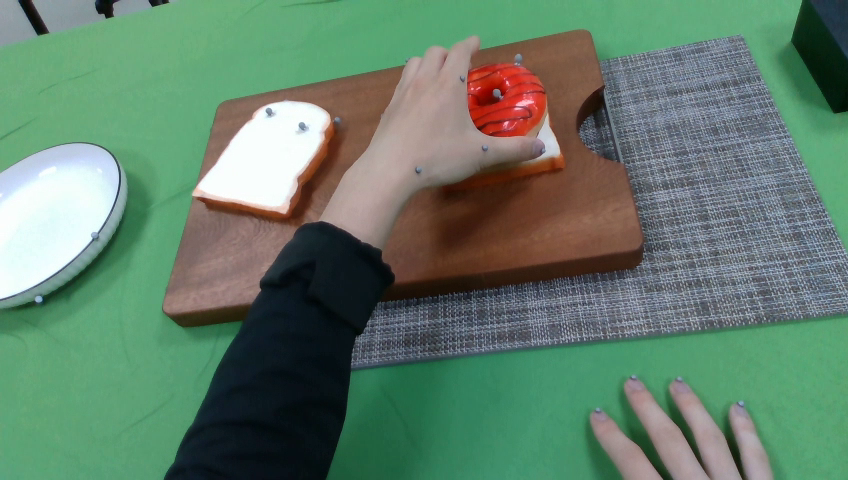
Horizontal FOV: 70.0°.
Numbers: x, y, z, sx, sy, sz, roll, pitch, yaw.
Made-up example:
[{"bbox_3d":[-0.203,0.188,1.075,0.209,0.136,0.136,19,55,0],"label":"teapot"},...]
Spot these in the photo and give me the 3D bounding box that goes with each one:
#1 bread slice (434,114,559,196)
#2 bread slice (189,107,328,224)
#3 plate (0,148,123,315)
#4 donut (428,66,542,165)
[{"bbox_3d":[0.055,-0.101,0.545,0.105,0.019,0.130,-11,55,7],"label":"bread slice"},{"bbox_3d":[-0.152,-0.076,0.585,0.106,0.018,0.133,8,59,21],"label":"bread slice"},{"bbox_3d":[-0.408,-0.009,0.634,0.209,0.038,0.207,-8,54,11],"label":"plate"},{"bbox_3d":[0.050,-0.107,0.512,0.099,0.049,0.098,-9,55,13],"label":"donut"}]
